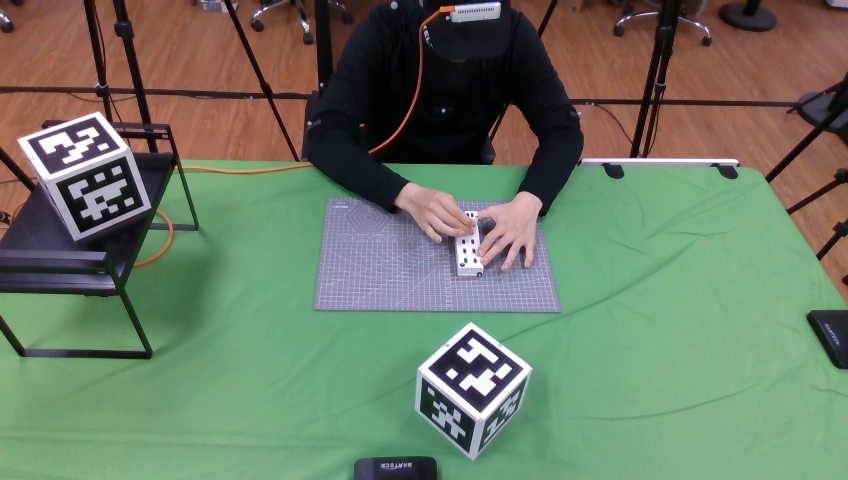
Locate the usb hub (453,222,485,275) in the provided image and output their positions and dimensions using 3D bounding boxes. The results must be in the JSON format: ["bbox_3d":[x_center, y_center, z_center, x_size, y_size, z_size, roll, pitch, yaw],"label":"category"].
[{"bbox_3d":[0.086,0.015,1.178,0.049,0.025,0.124,-1,45,-4],"label":"usb hub"}]

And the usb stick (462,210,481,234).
[{"bbox_3d":[0.092,-0.038,1.164,0.027,0.059,0.021,-27,65,-21],"label":"usb stick"}]
